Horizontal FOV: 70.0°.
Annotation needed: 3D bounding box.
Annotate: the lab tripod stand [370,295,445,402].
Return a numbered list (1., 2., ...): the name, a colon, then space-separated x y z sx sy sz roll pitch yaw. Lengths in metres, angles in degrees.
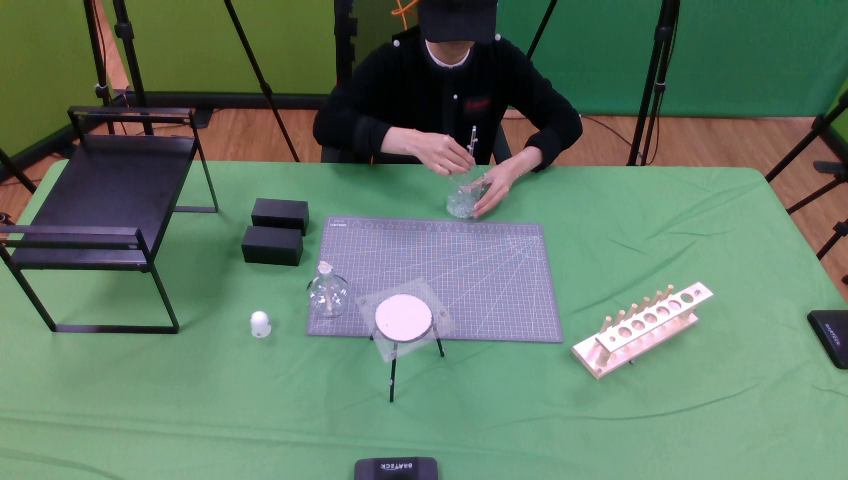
1. lab tripod stand: -0.036 0.160 0.959 0.148 0.132 0.147 1 46 0

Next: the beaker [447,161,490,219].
1. beaker: 0.087 -0.099 1.243 0.084 0.101 0.073 5 46 1

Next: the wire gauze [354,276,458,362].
1. wire gauze: -0.029 0.113 0.912 0.121 0.011 0.124 -18 49 -19

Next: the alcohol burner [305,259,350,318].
1. alcohol burner: -0.166 0.078 1.040 0.078 0.120 0.077 1 44 -1

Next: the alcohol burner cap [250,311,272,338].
1. alcohol burner cap: -0.278 0.141 1.026 0.034 0.048 0.033 1 46 -1

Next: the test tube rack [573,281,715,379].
1. test tube rack: 0.378 0.140 1.038 0.242 0.085 0.066 -22 51 -23

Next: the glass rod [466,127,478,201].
1. glass rod: 0.095 -0.148 1.215 0.008 0.201 0.008 1 51 -1
